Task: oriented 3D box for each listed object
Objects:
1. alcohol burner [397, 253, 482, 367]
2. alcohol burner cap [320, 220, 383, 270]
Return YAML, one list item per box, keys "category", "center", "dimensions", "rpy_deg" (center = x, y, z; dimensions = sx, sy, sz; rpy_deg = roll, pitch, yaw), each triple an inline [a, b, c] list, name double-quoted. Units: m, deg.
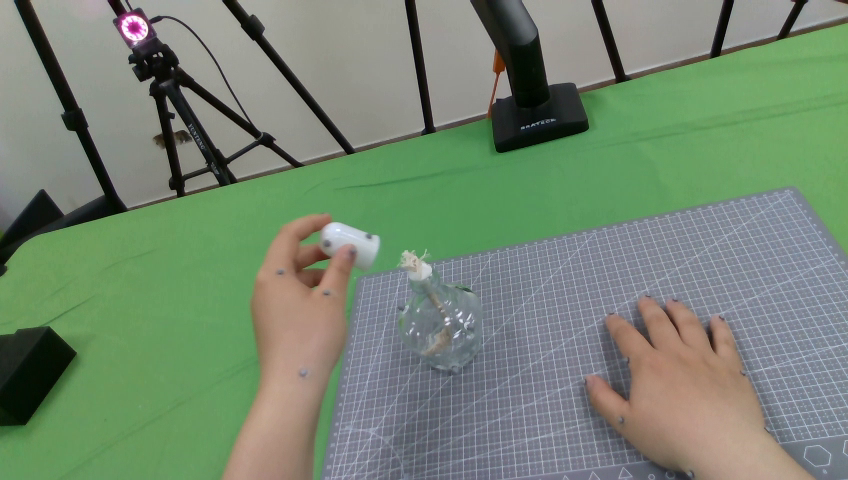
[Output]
- category: "alcohol burner"
  center: [0.009, 0.055, 0.522]
  dimensions: [0.078, 0.120, 0.077]
  rpy_deg: [-12, 40, 10]
- category: "alcohol burner cap"
  center: [-0.059, 0.001, 0.482]
  dimensions: [0.034, 0.048, 0.033]
  rpy_deg: [-45, 32, 39]
